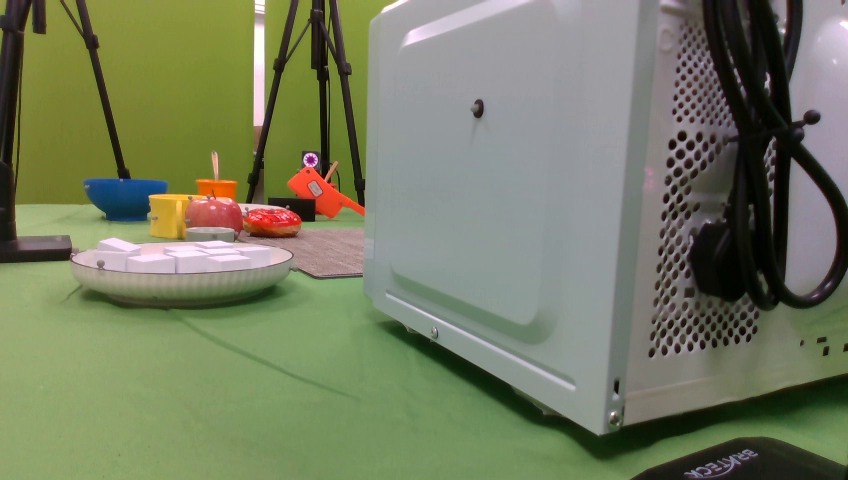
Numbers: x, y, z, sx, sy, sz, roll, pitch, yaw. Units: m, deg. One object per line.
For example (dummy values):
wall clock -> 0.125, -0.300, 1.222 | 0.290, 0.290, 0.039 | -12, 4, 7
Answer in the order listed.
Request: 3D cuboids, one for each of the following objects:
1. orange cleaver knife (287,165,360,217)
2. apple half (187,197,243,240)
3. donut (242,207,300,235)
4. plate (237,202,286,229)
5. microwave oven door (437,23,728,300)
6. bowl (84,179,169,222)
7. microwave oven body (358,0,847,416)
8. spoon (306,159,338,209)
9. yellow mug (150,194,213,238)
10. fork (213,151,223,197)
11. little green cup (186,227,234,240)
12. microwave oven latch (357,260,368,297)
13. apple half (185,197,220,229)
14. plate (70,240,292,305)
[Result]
orange cleaver knife -> -0.210, -0.093, 1.382 | 0.212, 0.077, 0.012 | 33, 0, -15
apple half -> -0.305, -0.026, 0.907 | 0.053, 0.074, 0.081 | 12, 8, 31
donut -> -0.263, -0.032, 1.039 | 0.099, 0.048, 0.099 | 4, 9, 0
plate -> -0.376, -0.048, 1.183 | 0.209, 0.038, 0.209 | 2, 8, 0
microwave oven door -> 0.180, -0.072, 0.621 | 0.358, 0.243, 0.039 | -2, 8, -29
bowl -> -0.584, -0.078, 1.194 | 0.151, 0.077, 0.151 | 3, 8, 0
microwave oven body -> 0.211, -0.047, 0.475 | 0.444, 0.260, 0.324 | -1, 8, -28
spoon -> -0.258, -0.147, 1.567 | 0.041, 0.022, 0.193 | 1, 50, 20
yellow mug -> -0.401, -0.040, 1.003 | 0.100, 0.064, 0.130 | 0, 9, -20
fork -> -0.494, -0.143, 1.442 | 0.028, 0.018, 0.206 | -2, 52, -20
little green cup -> -0.284, 0.005, 0.805 | 0.061, 0.038, 0.061 | 3, 8, 0
microwave oven latch -> -0.019, 0.033, 0.531 | 0.079, 0.029, 0.030 | -1, 7, -27
apple half -> -0.338, -0.031, 0.927 | 0.032, 0.081, 0.081 | 12, 12, 31
plate -> -0.242, 0.031, 0.618 | 0.208, 0.039, 0.207 | 2, 8, 0
